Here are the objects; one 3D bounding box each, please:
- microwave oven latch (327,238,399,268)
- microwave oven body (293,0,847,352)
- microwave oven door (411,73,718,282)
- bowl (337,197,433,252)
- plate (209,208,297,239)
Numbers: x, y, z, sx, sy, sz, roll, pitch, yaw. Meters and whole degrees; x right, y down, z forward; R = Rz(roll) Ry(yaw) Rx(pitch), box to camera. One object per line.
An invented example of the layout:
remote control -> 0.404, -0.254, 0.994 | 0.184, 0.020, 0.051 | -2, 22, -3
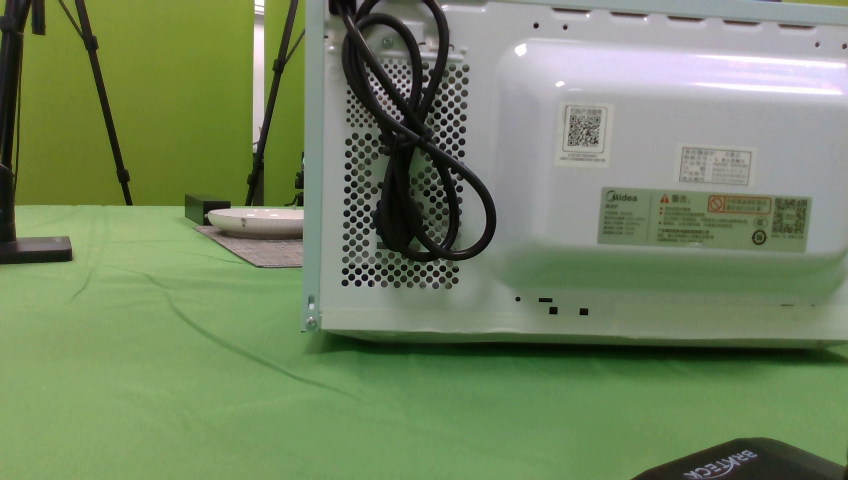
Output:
microwave oven latch -> -0.069, 0.015, 0.694 | 0.079, 0.029, 0.030 | 3, 7, -3
microwave oven body -> 0.122, -0.055, 0.550 | 0.442, 0.260, 0.325 | 3, 7, -5
microwave oven door -> 0.162, -0.084, 0.756 | 0.355, 0.243, 0.039 | 5, 8, 15
bowl -> -0.062, -0.025, 0.955 | 0.151, 0.077, 0.151 | 2, 8, 0
plate -> -0.271, -0.029, 1.074 | 0.208, 0.039, 0.207 | 3, 7, 0
